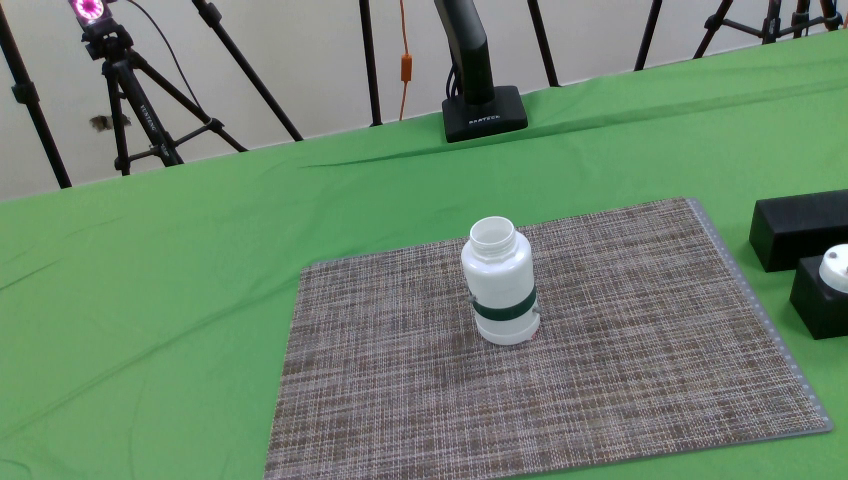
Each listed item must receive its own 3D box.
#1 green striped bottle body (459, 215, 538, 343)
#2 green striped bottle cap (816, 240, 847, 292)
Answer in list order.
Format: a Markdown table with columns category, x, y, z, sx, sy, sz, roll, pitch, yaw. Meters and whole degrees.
| category | x | y | z | sx | sy | sz | roll | pitch | yaw |
| --- | --- | --- | --- | --- | --- | --- | --- | --- | --- |
| green striped bottle body | 0.069 | 0.034 | 0.556 | 0.063 | 0.120 | 0.062 | -9 | 40 | 8 |
| green striped bottle cap | 0.347 | 0.021 | 0.493 | 0.044 | 0.020 | 0.044 | -7 | 40 | 6 |
